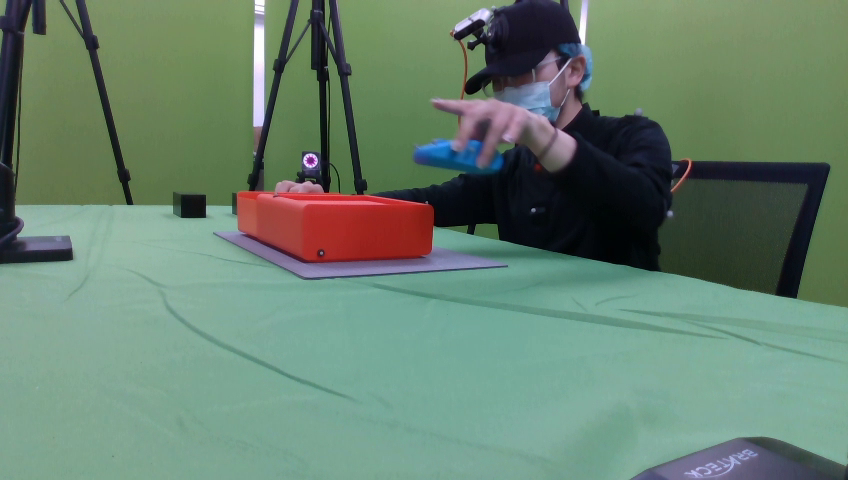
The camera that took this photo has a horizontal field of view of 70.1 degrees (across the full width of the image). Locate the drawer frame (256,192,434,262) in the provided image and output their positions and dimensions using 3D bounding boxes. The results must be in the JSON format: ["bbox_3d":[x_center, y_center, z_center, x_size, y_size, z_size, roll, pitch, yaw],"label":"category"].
[{"bbox_3d":[-0.125,-0.026,0.910,0.203,0.082,0.212,-1,9,-32],"label":"drawer frame"}]

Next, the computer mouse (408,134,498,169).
[{"bbox_3d":[0.038,-0.119,0.801,0.118,0.041,0.062,2,4,-19],"label":"computer mouse"}]

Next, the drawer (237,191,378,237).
[{"bbox_3d":[-0.186,-0.039,1.006,0.195,0.073,0.210,-1,8,-32],"label":"drawer"}]
